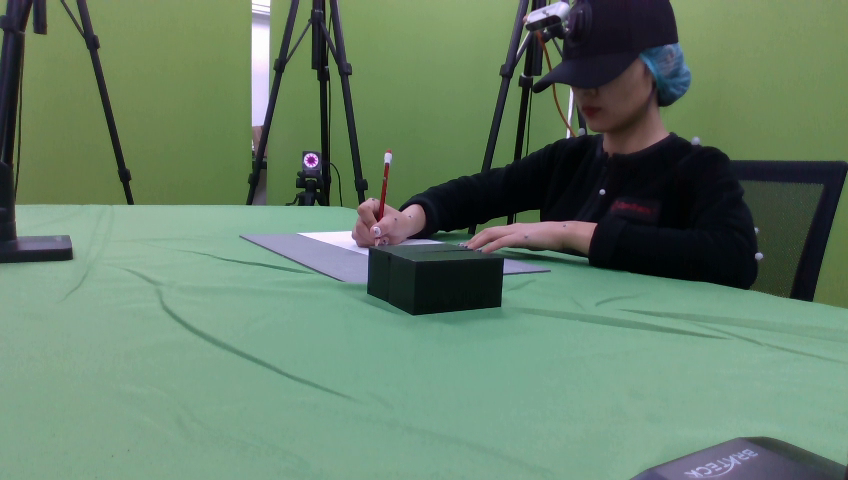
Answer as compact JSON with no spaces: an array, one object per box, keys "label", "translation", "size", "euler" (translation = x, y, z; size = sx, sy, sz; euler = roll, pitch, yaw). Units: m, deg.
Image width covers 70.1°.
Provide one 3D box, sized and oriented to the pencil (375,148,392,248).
[{"label":"pencil","translation":[-0.065,-0.070,0.955],"size":[0.012,0.193,0.012],"euler":[3,-33,2]}]
